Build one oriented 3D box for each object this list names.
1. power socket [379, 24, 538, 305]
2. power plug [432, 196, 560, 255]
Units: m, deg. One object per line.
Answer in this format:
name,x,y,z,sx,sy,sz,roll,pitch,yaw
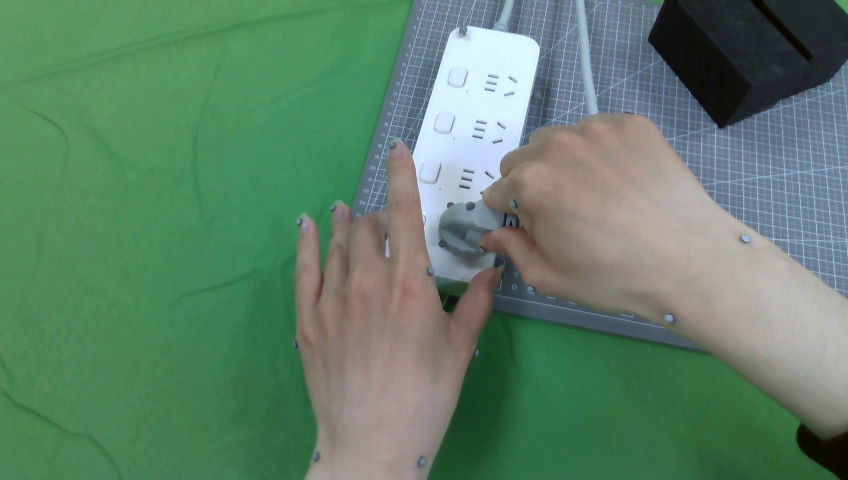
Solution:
power socket,0.028,-0.063,0.428,0.072,0.033,0.225,14,65,5
power plug,0.039,0.000,0.374,0.072,0.053,0.035,27,65,7
